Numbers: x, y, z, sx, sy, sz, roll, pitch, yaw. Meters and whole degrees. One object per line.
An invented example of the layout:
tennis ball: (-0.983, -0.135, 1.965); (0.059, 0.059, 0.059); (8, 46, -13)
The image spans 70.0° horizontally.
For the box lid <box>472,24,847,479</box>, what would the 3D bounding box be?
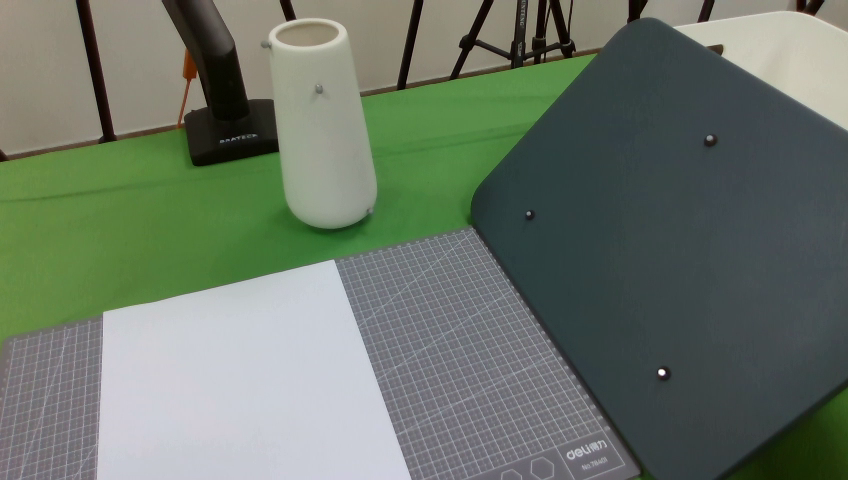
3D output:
box lid: (0.194, -0.013, 0.500); (0.015, 0.263, 0.367); (27, 23, -40)

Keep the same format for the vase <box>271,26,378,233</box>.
vase: (-0.100, -0.104, 0.604); (0.098, 0.202, 0.097); (-1, 40, 1)

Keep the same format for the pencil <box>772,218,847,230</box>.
pencil: (0.385, -0.013, 0.542); (0.012, 0.012, 0.193); (-9, 4, -10)

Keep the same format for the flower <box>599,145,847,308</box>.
flower: (0.327, 0.001, 0.615); (0.358, 0.038, 0.044); (41, 19, 31)

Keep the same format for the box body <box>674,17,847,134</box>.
box body: (0.360, -0.059, 0.576); (0.255, 0.162, 0.359); (-14, 43, -14)
